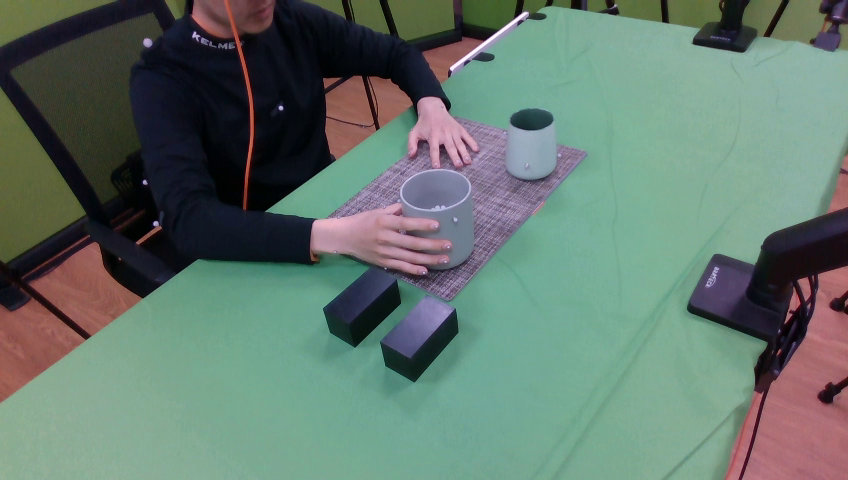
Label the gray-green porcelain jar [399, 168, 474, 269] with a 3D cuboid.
[{"bbox_3d":[0.022,-0.027,0.911,0.106,0.127,0.105,-4,41,4],"label":"gray-green porcelain jar"}]

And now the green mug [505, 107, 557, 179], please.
[{"bbox_3d":[0.189,-0.180,1.082,0.092,0.105,0.124,-6,41,2],"label":"green mug"}]
